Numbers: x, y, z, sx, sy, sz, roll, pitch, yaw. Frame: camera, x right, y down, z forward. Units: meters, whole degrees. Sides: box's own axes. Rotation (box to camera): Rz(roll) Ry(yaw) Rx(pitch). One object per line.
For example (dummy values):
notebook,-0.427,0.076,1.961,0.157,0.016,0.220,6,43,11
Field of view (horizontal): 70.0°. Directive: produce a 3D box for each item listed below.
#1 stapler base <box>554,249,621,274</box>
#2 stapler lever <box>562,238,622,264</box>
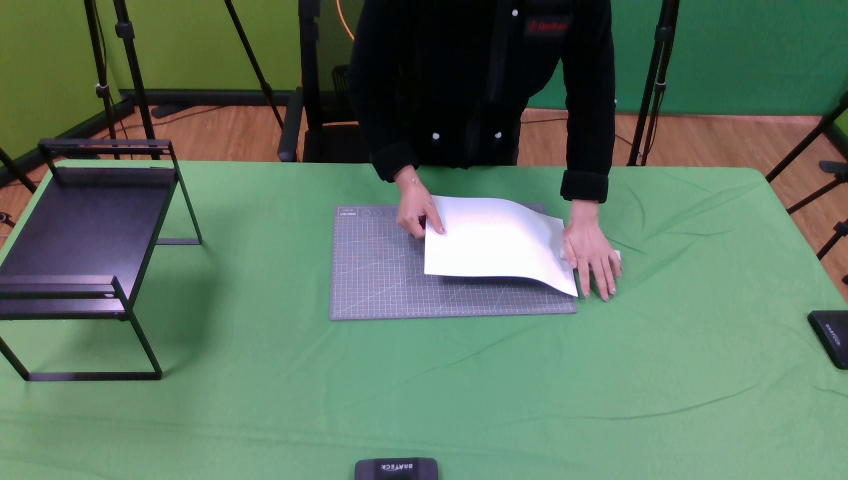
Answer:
stapler base,0.322,0.036,1.184,0.130,0.024,0.041,9,52,0
stapler lever,0.325,0.021,1.167,0.118,0.040,0.026,7,52,2
